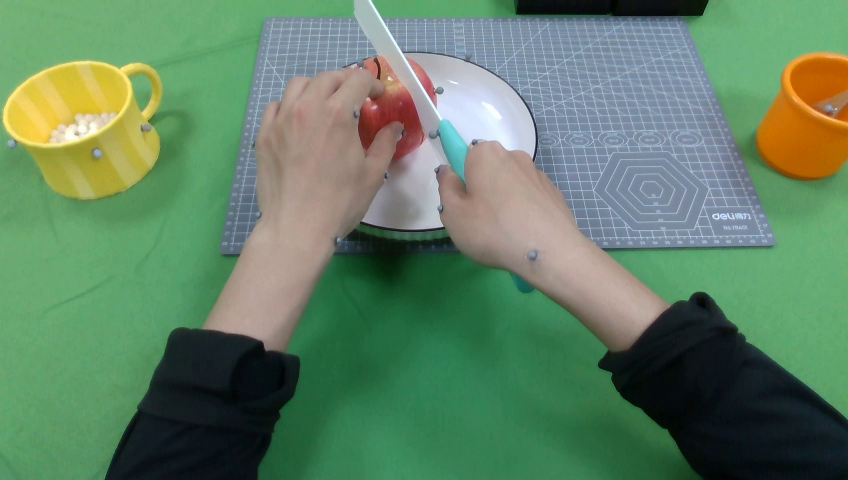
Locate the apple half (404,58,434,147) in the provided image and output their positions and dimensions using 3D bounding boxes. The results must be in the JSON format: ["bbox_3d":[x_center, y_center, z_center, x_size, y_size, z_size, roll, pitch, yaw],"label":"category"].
[{"bbox_3d":[-0.010,-0.121,0.516,0.033,0.082,0.080,-27,60,-14],"label":"apple half"}]

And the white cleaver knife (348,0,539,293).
[{"bbox_3d":[0.007,-0.085,0.457,0.021,0.066,0.284,-26,73,-8],"label":"white cleaver knife"}]

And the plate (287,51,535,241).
[{"bbox_3d":[-0.011,-0.081,0.522,0.209,0.038,0.207,1,56,-1],"label":"plate"}]

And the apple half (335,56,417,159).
[{"bbox_3d":[-0.045,-0.104,0.505,0.053,0.075,0.080,-27,64,-11],"label":"apple half"}]

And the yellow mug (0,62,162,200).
[{"bbox_3d":[-0.278,-0.103,0.518,0.099,0.064,0.130,29,59,17],"label":"yellow mug"}]

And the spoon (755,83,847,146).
[{"bbox_3d":[0.374,-0.136,0.501,0.022,0.194,0.041,27,42,-36],"label":"spoon"}]
